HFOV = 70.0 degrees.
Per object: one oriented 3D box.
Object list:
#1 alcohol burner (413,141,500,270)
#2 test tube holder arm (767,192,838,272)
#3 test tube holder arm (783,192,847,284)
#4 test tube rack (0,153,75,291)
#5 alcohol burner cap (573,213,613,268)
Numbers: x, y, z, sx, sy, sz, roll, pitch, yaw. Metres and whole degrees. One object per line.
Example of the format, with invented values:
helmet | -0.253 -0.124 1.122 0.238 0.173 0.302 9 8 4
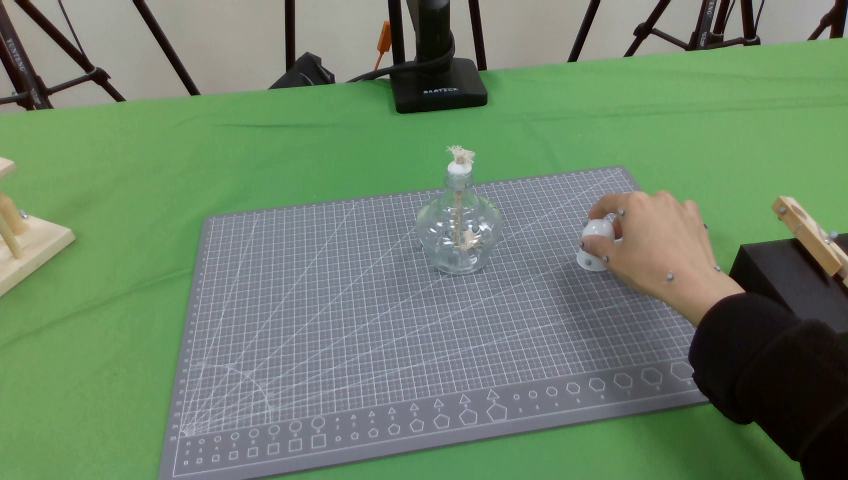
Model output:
alcohol burner | 0.028 -0.033 0.528 0.078 0.120 0.077 -2 40 2
test tube holder arm | 0.308 -0.008 0.492 0.010 0.015 0.087 -1 42 -10
test tube holder arm | 0.320 0.022 0.460 0.013 0.015 0.176 -1 42 -10
test tube rack | -0.427 0.028 0.503 0.066 0.086 0.241 16 45 19
alcohol burner cap | 0.153 -0.001 0.543 0.034 0.048 0.033 -1 41 1
